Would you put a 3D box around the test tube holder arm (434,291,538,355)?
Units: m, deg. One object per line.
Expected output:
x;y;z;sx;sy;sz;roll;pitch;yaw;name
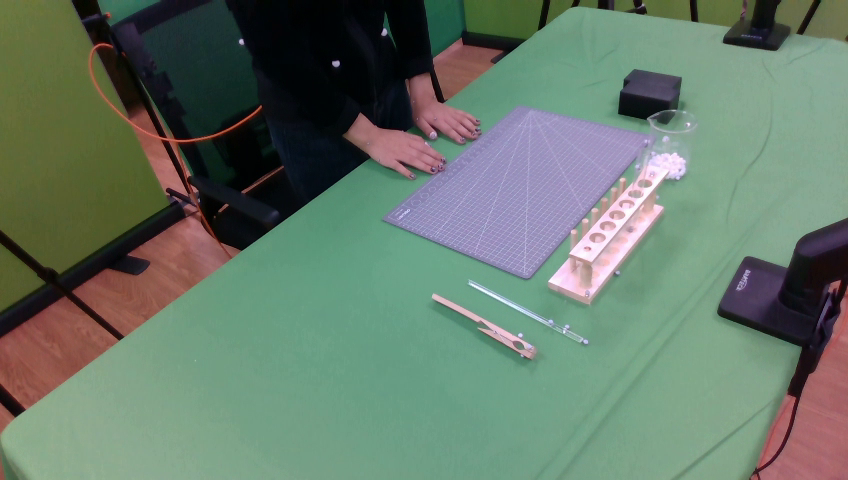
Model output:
0.081;0.112;0.832;0.177;0.015;0.013;29;82;36;test tube holder arm

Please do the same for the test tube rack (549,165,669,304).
0.279;-0.018;0.902;0.066;0.085;0.243;24;50;33;test tube rack

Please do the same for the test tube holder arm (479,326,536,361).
0.110;0.134;0.805;0.087;0.015;0.010;29;83;36;test tube holder arm

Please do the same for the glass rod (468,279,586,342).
0.140;0.096;0.853;0.198;0.008;0.008;27;52;35;glass rod

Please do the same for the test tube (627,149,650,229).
0.311;-0.071;0.881;0.017;0.151;0.017;-5;47;5;test tube

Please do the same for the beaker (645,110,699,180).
0.417;-0.160;1.033;0.083;0.101;0.074;25;51;35;beaker
